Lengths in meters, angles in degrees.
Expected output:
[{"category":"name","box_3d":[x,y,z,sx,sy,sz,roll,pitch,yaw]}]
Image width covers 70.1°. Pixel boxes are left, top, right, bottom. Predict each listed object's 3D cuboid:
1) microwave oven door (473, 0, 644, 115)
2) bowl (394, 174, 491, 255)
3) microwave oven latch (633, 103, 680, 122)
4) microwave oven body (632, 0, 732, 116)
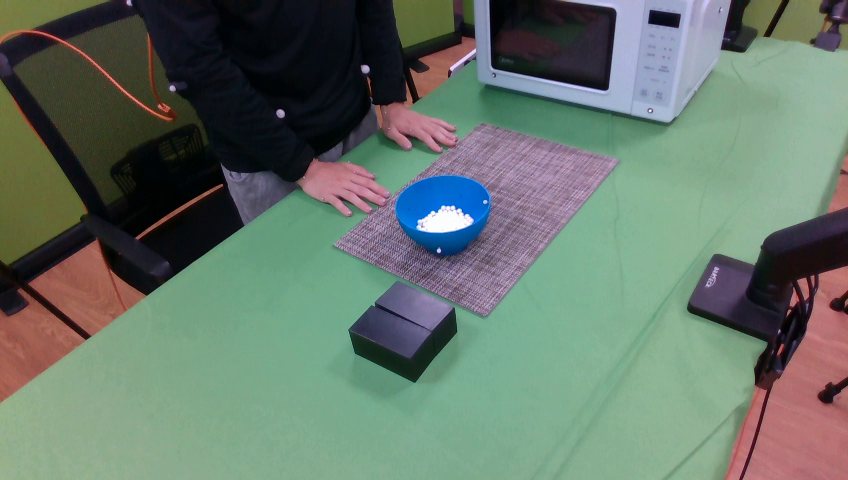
[{"category":"microwave oven door","box_3d":[0.257,-0.396,1.199,0.353,0.245,0.039,21,48,29]},{"category":"bowl","box_3d":[0.032,-0.030,0.949,0.151,0.077,0.150,-4,40,4]},{"category":"microwave oven latch","box_3d":[0.443,-0.249,1.157,0.078,0.029,0.030,21,48,30]},{"category":"microwave oven body","box_3d":[0.377,-0.462,1.267,0.438,0.261,0.327,21,48,30]}]
